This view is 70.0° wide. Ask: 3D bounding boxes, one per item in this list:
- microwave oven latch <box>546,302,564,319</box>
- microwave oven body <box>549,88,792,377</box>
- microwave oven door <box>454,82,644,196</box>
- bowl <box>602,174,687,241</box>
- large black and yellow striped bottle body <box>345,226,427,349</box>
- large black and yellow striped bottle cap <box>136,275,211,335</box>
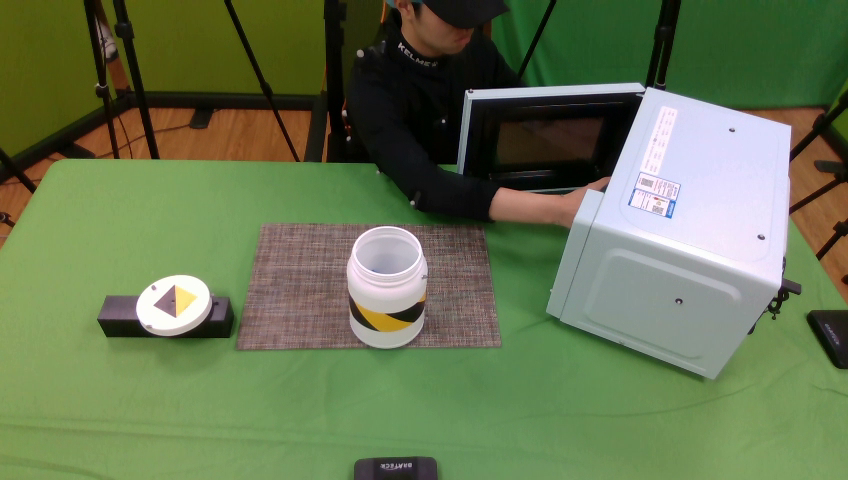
[{"bbox_3d":[0.242,0.102,1.081,0.030,0.029,0.079,21,48,17],"label":"microwave oven latch"},{"bbox_3d":[0.456,-0.028,1.088,0.325,0.261,0.440,20,47,16],"label":"microwave oven body"},{"bbox_3d":[0.247,-0.202,1.233,0.356,0.245,0.039,-5,47,-8],"label":"microwave oven door"},{"bbox_3d":[0.405,-0.051,1.136,0.151,0.077,0.150,-1,39,1],"label":"bowl"},{"bbox_3d":[-0.062,0.078,0.998,0.131,0.185,0.130,2,46,-2],"label":"large black and yellow striped bottle body"},{"bbox_3d":[-0.412,0.105,0.999,0.115,0.019,0.114,3,46,-3],"label":"large black and yellow striped bottle cap"}]
